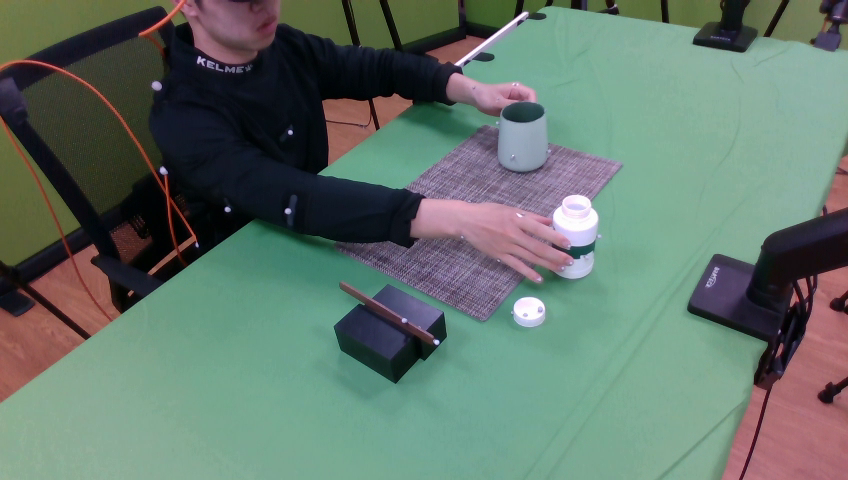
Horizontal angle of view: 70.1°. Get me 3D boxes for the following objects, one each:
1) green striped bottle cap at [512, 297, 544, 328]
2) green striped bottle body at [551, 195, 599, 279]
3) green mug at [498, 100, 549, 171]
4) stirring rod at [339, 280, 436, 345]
[{"bbox_3d":[0.144,0.100,0.837,0.044,0.020,0.044,-1,40,1],"label":"green striped bottle cap"},{"bbox_3d":[0.216,-0.006,0.870,0.063,0.120,0.063,-4,41,4],"label":"green striped bottle body"},{"bbox_3d":[0.182,-0.197,1.101,0.092,0.105,0.125,3,41,12],"label":"green mug"},{"bbox_3d":[-0.052,0.093,0.795,0.174,0.014,0.006,27,47,33],"label":"stirring rod"}]
